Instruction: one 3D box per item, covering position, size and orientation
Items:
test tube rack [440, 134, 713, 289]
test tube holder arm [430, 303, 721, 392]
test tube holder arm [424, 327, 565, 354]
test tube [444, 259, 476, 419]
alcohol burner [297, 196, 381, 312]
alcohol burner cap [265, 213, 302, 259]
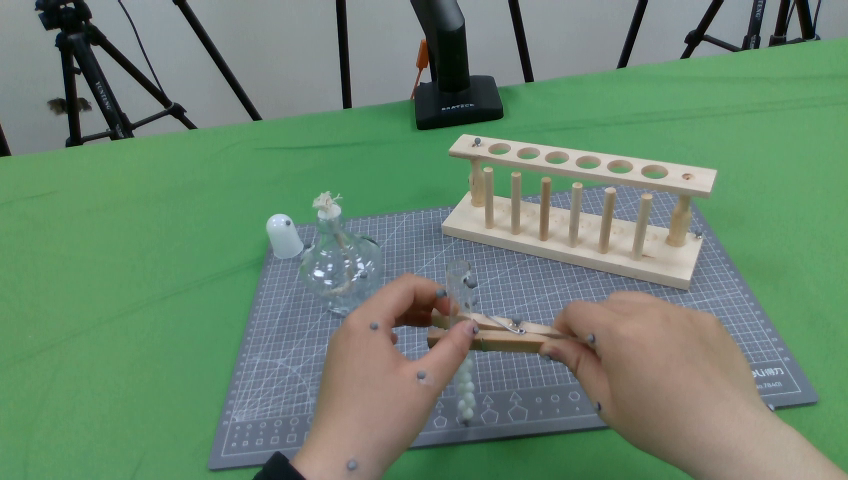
[{"bbox_3d":[0.133,-0.033,0.576,0.241,0.086,0.066,13,44,26],"label":"test tube rack"},{"bbox_3d":[0.089,0.065,0.377,0.178,0.015,0.013,11,49,15],"label":"test tube holder arm"},{"bbox_3d":[0.044,0.064,0.382,0.088,0.015,0.010,1,46,6],"label":"test tube holder arm"},{"bbox_3d":[0.025,0.072,0.403,0.017,0.151,0.017,-3,40,3],"label":"test tube"},{"bbox_3d":[-0.079,0.008,0.546,0.078,0.120,0.077,-4,40,4],"label":"alcohol burner"},{"bbox_3d":[-0.150,-0.007,0.636,0.034,0.048,0.033,-5,40,4],"label":"alcohol burner cap"}]
